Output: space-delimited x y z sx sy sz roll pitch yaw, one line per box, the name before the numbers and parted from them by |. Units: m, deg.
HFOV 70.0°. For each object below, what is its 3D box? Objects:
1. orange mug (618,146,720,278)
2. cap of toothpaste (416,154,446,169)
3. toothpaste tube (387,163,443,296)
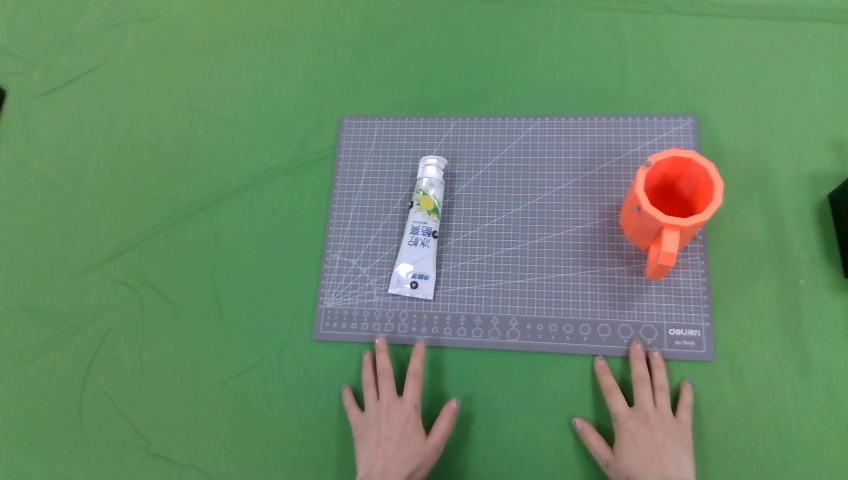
orange mug | 0.260 -0.026 0.656 0.083 0.101 0.125 10 69 11
cap of toothpaste | 0.008 -0.094 0.743 0.037 0.037 0.011 -2 71 7
toothpaste tube | -0.006 -0.016 0.726 0.055 0.035 0.164 6 77 15
